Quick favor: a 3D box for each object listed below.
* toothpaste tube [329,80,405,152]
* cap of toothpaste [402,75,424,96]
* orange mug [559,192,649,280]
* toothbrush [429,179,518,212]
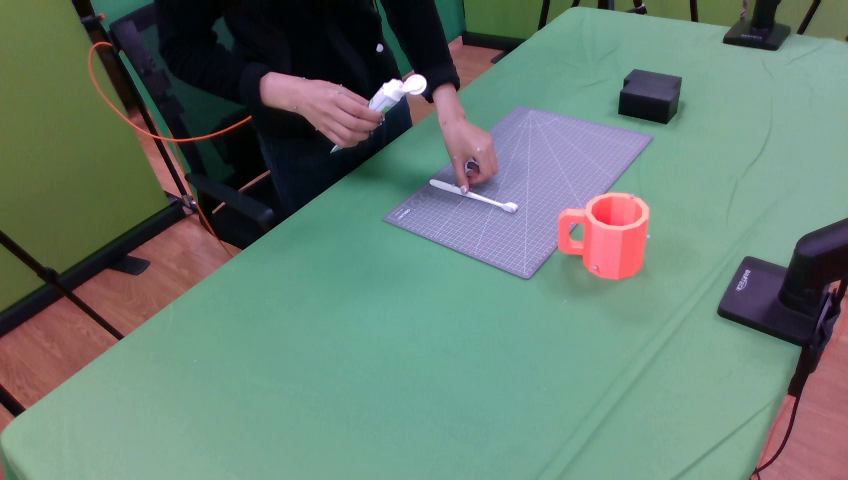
[{"bbox_3d":[-0.091,-0.200,0.974,0.164,0.034,0.055,-38,0,28],"label":"toothpaste tube"},{"bbox_3d":[-0.018,-0.245,0.952,0.037,0.011,0.037,-3,72,8],"label":"cap of toothpaste"},{"bbox_3d":[0.261,-0.008,0.884,0.126,0.101,0.083,9,43,14],"label":"orange mug"},{"bbox_3d":[0.084,-0.081,1.062,0.180,0.014,0.017,21,46,30],"label":"toothbrush"}]
